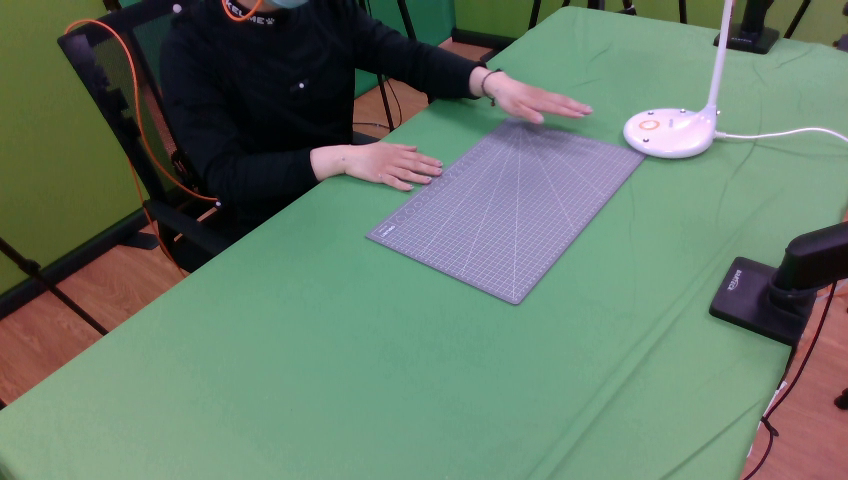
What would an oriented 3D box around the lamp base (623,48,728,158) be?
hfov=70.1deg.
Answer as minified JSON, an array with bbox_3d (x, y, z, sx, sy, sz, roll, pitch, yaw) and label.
[{"bbox_3d":[0.462,-0.261,1.084,0.179,0.181,0.160,3,42,7],"label":"lamp base"}]
